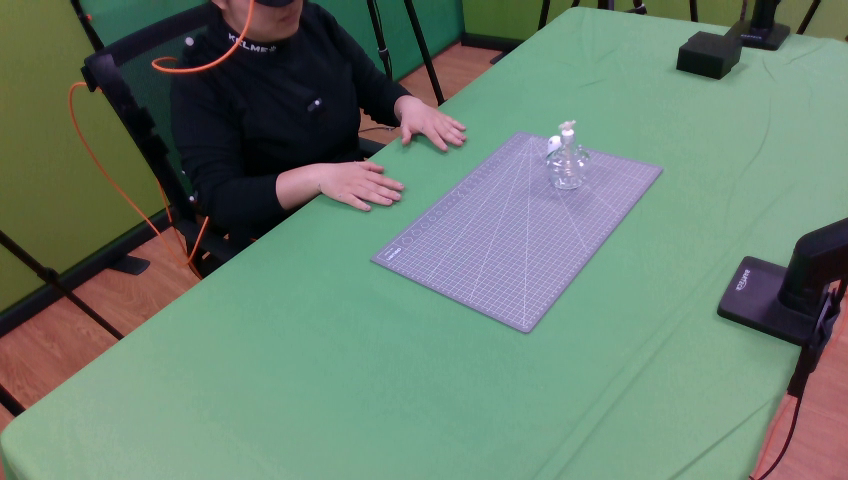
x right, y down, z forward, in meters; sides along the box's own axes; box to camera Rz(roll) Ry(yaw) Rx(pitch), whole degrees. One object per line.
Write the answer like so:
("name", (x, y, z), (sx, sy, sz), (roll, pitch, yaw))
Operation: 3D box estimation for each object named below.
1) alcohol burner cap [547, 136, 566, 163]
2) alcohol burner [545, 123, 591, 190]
("alcohol burner cap", (0.245, -0.170, 1.118), (0.034, 0.048, 0.033), (-6, 40, 6))
("alcohol burner", (0.247, -0.147, 1.034), (0.078, 0.120, 0.077), (-7, 41, 6))
